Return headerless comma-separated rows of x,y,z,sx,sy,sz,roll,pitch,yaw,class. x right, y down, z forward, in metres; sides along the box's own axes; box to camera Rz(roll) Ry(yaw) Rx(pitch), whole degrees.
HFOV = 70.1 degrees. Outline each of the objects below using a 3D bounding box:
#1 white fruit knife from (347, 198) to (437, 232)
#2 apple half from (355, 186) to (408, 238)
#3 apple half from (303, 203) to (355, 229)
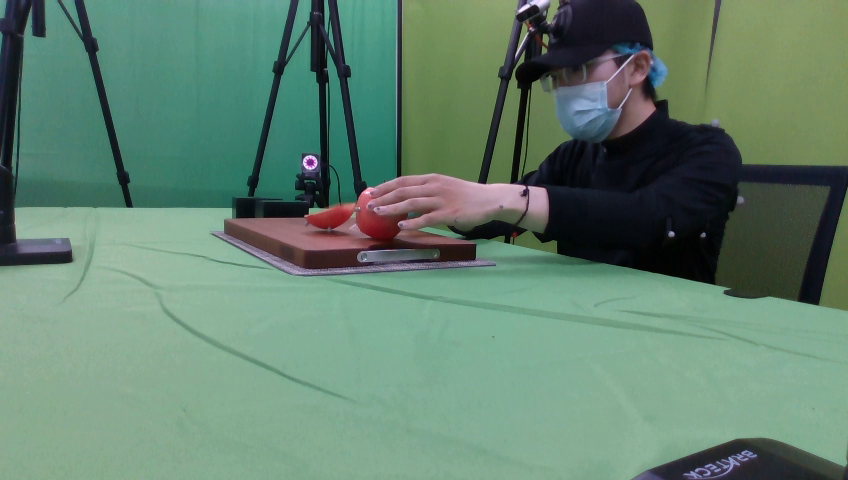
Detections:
-0.045,-0.039,0.940,0.016,0.027,0.208,12,20,35,white fruit knife
-0.055,-0.039,0.875,0.053,0.074,0.081,24,14,36,apple half
-0.143,-0.035,0.939,0.081,0.033,0.081,-12,4,1,apple half
